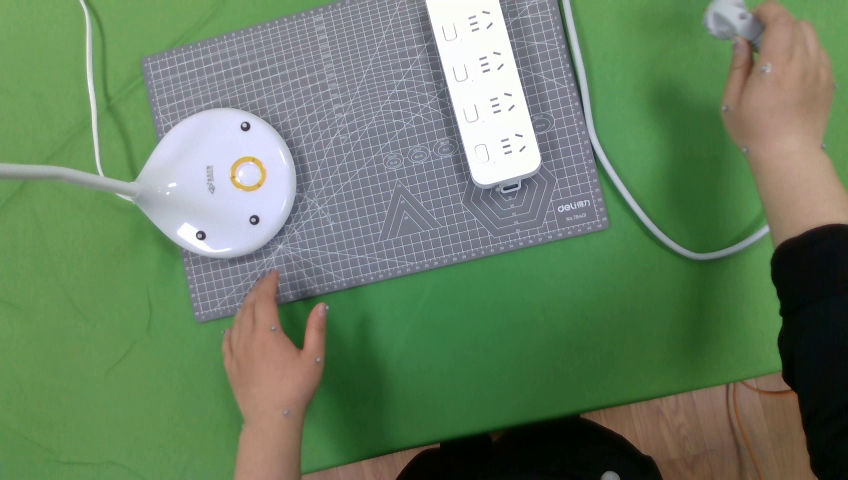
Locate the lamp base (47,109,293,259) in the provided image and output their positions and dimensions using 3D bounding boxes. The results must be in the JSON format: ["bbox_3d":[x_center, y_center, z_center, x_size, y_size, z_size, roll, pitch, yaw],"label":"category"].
[{"bbox_3d":[-0.238,-0.058,0.570,0.179,0.180,0.160,-19,86,9],"label":"lamp base"}]

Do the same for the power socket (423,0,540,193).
[{"bbox_3d":[0.057,-0.160,0.609,0.072,0.032,0.226,-15,87,6],"label":"power socket"}]

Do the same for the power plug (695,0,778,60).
[{"bbox_3d":[0.262,-0.178,0.522,0.035,0.052,0.073,-38,113,11],"label":"power plug"}]
